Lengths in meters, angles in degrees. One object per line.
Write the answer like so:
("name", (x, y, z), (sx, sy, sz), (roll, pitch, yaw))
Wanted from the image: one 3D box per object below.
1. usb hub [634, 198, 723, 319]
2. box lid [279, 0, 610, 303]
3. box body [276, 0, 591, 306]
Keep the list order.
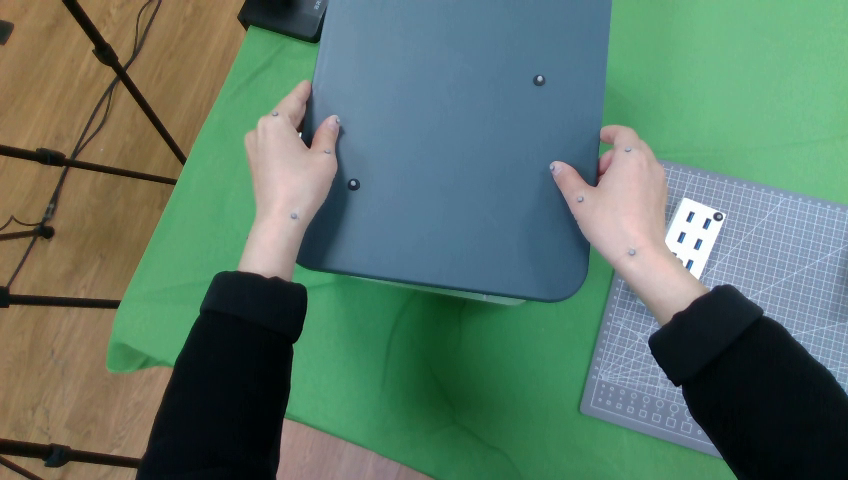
("usb hub", (0.277, 0.020, 0.658), (0.049, 0.025, 0.125), (25, 82, 11))
("box lid", (0.028, -0.135, 0.547), (0.263, 0.015, 0.369), (8, 77, 3))
("box body", (0.024, -0.124, 0.653), (0.253, 0.161, 0.362), (10, 79, 9))
